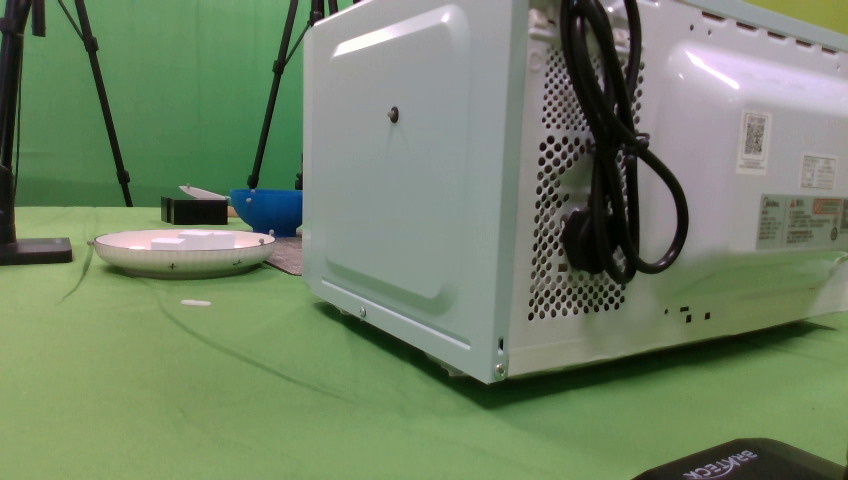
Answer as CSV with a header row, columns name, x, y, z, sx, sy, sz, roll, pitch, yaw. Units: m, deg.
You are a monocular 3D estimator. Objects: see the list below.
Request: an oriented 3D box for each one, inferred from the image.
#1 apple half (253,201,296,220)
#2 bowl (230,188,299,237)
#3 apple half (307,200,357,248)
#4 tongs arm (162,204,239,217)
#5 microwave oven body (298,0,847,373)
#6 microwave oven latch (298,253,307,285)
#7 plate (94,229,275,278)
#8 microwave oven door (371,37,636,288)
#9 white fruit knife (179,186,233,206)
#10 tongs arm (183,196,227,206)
name,x,y,z,sx,sy,sz,roll,pitch,yaw
apple half,-0.264,-0.053,1.067,0.081,0.033,0.081,1,8,0
bowl,-0.264,-0.048,1.065,0.151,0.077,0.151,3,8,0
apple half,-0.135,-0.024,0.941,0.053,0.074,0.081,13,8,39
tongs arm,-0.396,-0.066,1.399,0.389,0.028,0.028,1,6,-15
microwave oven body,0.151,-0.055,0.542,0.444,0.260,0.324,-2,7,-33
microwave oven latch,-0.082,0.027,0.582,0.079,0.029,0.030,-2,7,-33
plate,-0.291,0.016,0.750,0.208,0.039,0.207,2,7,0
microwave oven door,0.109,-0.080,0.686,0.358,0.243,0.039,-2,9,-33
white fruit knife,-0.413,-0.081,1.270,0.208,0.027,0.016,18,13,-41
tongs arm,-0.404,-0.081,1.479,0.385,0.026,0.050,3,9,-2
